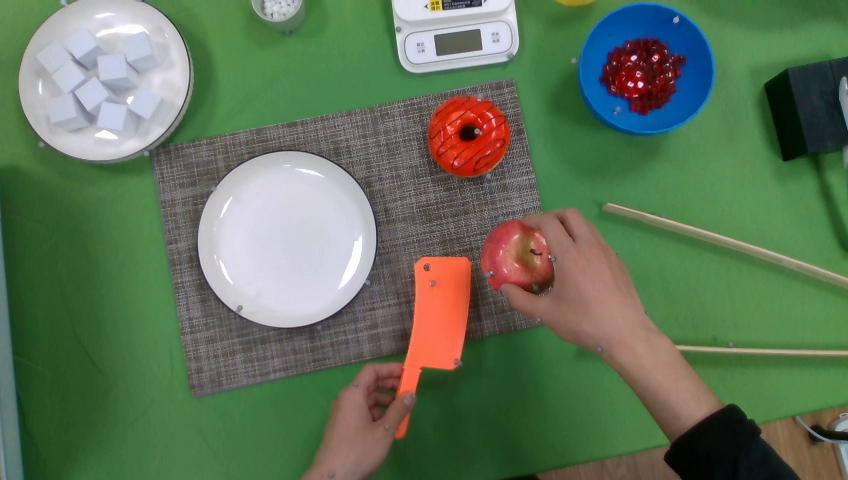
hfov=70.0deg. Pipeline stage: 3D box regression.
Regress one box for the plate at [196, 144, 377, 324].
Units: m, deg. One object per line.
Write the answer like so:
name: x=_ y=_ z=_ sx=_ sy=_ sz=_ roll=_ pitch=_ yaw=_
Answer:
plate: x=-0.157 y=-0.007 z=0.709 sx=0.209 sy=0.038 sz=0.208 roll=0 pitch=86 yaw=1

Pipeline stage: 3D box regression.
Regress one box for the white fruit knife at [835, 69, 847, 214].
white fruit knife: x=0.487 y=-0.091 z=0.693 sx=0.016 sy=0.027 sz=0.208 roll=-14 pitch=100 yaw=0

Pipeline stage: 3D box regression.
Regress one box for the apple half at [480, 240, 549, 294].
apple half: x=0.083 y=0.035 z=0.609 sx=0.081 sy=0.081 sz=0.032 roll=34 pitch=77 yaw=4

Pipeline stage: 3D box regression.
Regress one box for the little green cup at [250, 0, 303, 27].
little green cup: x=-0.177 y=-0.292 z=0.736 sx=0.061 sy=0.039 sz=0.061 roll=0 pitch=85 yaw=1

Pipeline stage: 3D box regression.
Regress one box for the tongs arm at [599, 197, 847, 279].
tongs arm: x=0.392 y=0.016 z=0.710 sx=0.387 sy=0.028 sz=0.028 roll=19 pitch=77 yaw=3

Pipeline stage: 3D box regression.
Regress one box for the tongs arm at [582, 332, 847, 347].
tongs arm: x=0.378 y=0.100 z=0.699 sx=0.385 sy=0.026 sz=0.050 roll=4 pitch=80 yaw=1

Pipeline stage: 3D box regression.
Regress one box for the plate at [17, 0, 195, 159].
plate: x=-0.377 y=-0.197 z=0.731 sx=0.208 sy=0.039 sz=0.207 roll=0 pitch=85 yaw=1

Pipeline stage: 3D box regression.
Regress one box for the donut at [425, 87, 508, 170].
donut: x=0.049 y=-0.131 z=0.714 sx=0.099 sy=0.048 sz=0.099 roll=0 pitch=86 yaw=2

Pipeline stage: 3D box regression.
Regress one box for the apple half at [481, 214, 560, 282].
apple half: x=0.104 y=0.003 z=0.617 sx=0.081 sy=0.075 sz=0.053 roll=34 pitch=77 yaw=3

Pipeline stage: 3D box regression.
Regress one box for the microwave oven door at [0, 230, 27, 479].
microwave oven door: x=-0.492 y=0.134 z=0.584 sx=0.039 sy=0.244 sz=0.355 roll=-9 pitch=85 yaw=0

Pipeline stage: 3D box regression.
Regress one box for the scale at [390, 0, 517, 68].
scale: x=0.030 y=-0.317 z=0.740 sx=0.149 sy=0.031 sz=0.200 roll=-7 pitch=86 yaw=0

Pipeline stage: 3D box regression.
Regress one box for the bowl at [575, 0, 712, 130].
bowl: x=0.243 y=-0.193 z=0.704 sx=0.151 sy=0.077 sz=0.151 roll=0 pitch=86 yaw=1

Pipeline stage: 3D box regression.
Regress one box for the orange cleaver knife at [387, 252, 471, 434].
orange cleaver knife: x=0.008 y=0.109 z=0.670 sx=0.077 sy=0.012 sz=0.210 roll=15 pitch=78 yaw=-16
